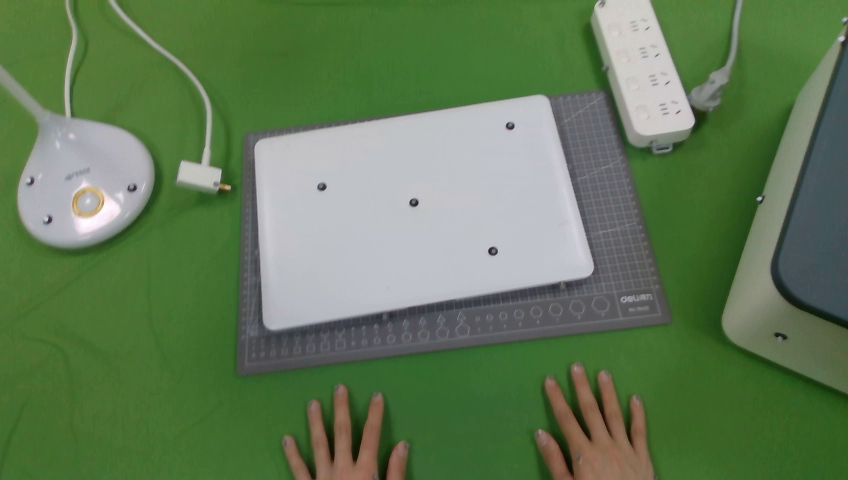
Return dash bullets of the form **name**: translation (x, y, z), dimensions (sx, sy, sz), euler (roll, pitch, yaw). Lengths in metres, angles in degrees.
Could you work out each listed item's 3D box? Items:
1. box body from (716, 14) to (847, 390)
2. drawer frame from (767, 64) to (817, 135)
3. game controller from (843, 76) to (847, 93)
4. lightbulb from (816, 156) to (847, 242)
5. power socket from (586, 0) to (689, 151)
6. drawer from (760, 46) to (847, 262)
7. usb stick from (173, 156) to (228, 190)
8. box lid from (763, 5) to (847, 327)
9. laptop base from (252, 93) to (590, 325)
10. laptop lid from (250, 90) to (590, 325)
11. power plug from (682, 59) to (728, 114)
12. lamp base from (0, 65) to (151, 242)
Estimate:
- **box body**: translation (0.466, -0.032, 0.576), dimensions (0.253, 0.161, 0.362), euler (24, 70, 13)
- **drawer frame**: translation (0.461, -0.077, 0.574), dimensions (0.083, 0.212, 0.202), euler (-35, 102, 2)
- **game controller**: translation (0.489, -0.115, 0.596), dimensions (0.097, 0.052, 0.154), euler (0, 66, 5)
- **lightbulb**: translation (0.433, -0.046, 0.625), dimensions (0.059, 0.060, 0.106), euler (2, 53, 5)
- **power socket**: translation (0.256, -0.212, 0.738), dimensions (0.072, 0.033, 0.225), euler (-8, 66, -1)
- **drawer**: translation (0.482, -0.073, 0.619), dimensions (0.193, 0.074, 0.211), euler (22, 75, 16)
- **usb stick**: translation (-0.256, -0.075, 0.699), dimensions (0.059, 0.021, 0.027), euler (16, 68, -26)
- **box lid**: translation (0.463, -0.064, 0.509), dimensions (0.262, 0.015, 0.370), euler (24, 70, 13)
- **laptop base**: translation (-0.013, -0.042, 0.684), dimensions (0.354, 0.023, 0.233), euler (-9, 69, -1)
- **laptop lid**: translation (-0.014, -0.044, 0.672), dimensions (0.357, 0.013, 0.240), euler (-8, 68, 0)
- **power plug**: translation (0.336, -0.176, 0.714), dimensions (0.072, 0.053, 0.035), euler (-25, 61, -26)
- **lamp base**: translation (-0.414, -0.112, 0.648), dimensions (0.160, 0.182, 0.177), euler (-34, 65, -11)
